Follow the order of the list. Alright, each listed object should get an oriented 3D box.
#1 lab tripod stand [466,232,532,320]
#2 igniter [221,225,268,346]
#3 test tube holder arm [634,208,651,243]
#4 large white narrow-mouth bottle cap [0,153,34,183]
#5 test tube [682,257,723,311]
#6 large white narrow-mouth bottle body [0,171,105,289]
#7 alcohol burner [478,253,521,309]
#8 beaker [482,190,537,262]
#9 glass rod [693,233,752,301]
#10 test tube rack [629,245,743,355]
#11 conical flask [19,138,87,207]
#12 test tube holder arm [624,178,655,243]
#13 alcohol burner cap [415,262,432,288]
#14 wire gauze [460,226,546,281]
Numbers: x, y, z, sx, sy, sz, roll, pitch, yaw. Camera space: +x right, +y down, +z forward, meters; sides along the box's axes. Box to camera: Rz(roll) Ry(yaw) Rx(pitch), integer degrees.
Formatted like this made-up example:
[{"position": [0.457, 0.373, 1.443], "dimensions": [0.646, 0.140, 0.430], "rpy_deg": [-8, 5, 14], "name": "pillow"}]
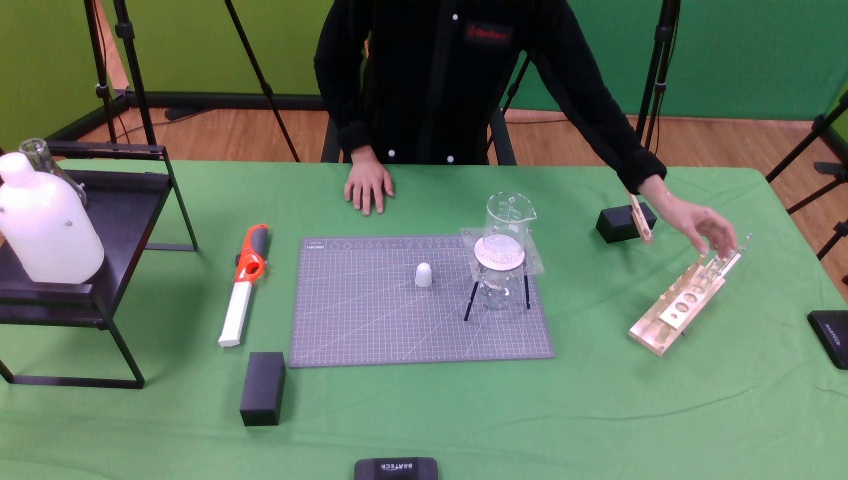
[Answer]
[{"position": [0.125, 0.059, 1.065], "dimensions": [0.148, 0.132, 0.147], "rpy_deg": [1, 45, 0], "name": "lab tripod stand"}, {"position": [-0.323, 0.072, 1.100], "dimensions": [0.057, 0.025, 0.274], "rpy_deg": [-6, 45, 5], "name": "igniter"}, {"position": [0.428, -0.030, 1.189], "dimensions": [0.010, 0.015, 0.087], "rpy_deg": [1, 47, -2], "name": "test tube holder arm"}, {"position": [-0.510, -0.090, 0.754], "dimensions": [0.038, 0.024, 0.037], "rpy_deg": [2, 46, -2], "name": "large white narrow-mouth bottle cap"}, {"position": [0.475, 0.080, 1.037], "dimensions": [0.017, 0.151, 0.017], "rpy_deg": [1, 51, -1], "name": "test tube"}, {"position": [-0.513, -0.029, 0.818], "dimensions": [0.102, 0.195, 0.101], "rpy_deg": [2, 46, -2], "name": "large white narrow-mouth bottle body"}, {"position": [0.134, 0.067, 1.073], "dimensions": [0.078, 0.120, 0.077], "rpy_deg": [0, 47, 0], "name": "alcohol burner"}, {"position": [0.136, -0.019, 0.983], "dimensions": [0.084, 0.101, 0.073], "rpy_deg": [17, 47, 14], "name": "beaker"}, {"position": [0.509, 0.054, 1.041], "dimensions": [0.008, 0.200, 0.008], "rpy_deg": [5, 50, -6], "name": "glass rod"}, {"position": [0.474, 0.095, 1.091], "dimensions": [0.242, 0.085, 0.066], "rpy_deg": [-34, 57, -31], "name": "test tube rack"}, {"position": [-0.576, -0.097, 0.930], "dimensions": [0.075, 0.122, 0.075], "rpy_deg": [2, 46, -2], "name": "conical flask"}, {"position": [0.432, -0.062, 1.220], "dimensions": [0.013, 0.015, 0.177], "rpy_deg": [0, 47, -3], "name": "test tube holder arm"}, {"position": [0.000, 0.061, 1.119], "dimensions": [0.034, 0.048, 0.033], "rpy_deg": [3, 43, -3], "name": "alcohol burner cap"}, {"position": [0.130, 0.017, 1.016], "dimensions": [0.121, 0.011, 0.124], "rpy_deg": [-4, 43, -9], "name": "wire gauze"}]
